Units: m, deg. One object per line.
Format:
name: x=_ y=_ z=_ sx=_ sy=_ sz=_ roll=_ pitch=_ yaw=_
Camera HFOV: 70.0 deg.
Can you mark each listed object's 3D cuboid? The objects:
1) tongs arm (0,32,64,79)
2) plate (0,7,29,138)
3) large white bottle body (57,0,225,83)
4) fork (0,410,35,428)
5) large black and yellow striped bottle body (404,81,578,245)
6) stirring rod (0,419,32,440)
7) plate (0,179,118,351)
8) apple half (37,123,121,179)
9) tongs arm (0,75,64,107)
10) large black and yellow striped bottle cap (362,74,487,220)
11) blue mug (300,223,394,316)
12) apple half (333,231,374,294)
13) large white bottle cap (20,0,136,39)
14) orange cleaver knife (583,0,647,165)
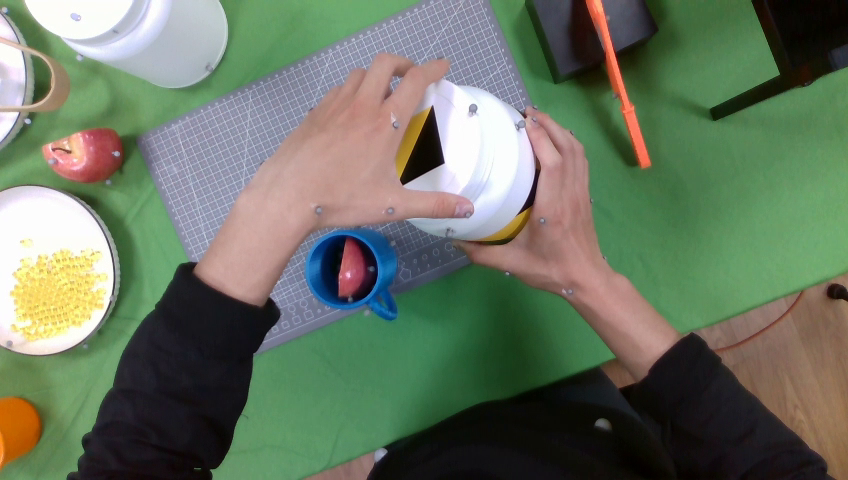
tongs arm: x=-0.590 y=-0.261 z=0.697 sx=0.387 sy=0.028 sz=0.028 roll=20 pitch=89 yaw=5
plate: x=-0.571 y=-0.203 z=0.730 sx=0.207 sy=0.039 sz=0.208 roll=0 pitch=94 yaw=4
large white bottle body: x=-0.306 y=-0.247 z=0.633 sx=0.130 sy=0.184 sz=0.130 roll=0 pitch=93 yaw=5
fork: x=-0.577 y=0.235 z=0.705 sx=0.208 sy=0.018 sz=0.028 roll=-8 pitch=93 yaw=-38
large black and yellow striped bottle body: x=0.047 y=-0.066 z=0.550 sx=0.130 sy=0.185 sz=0.130 roll=-4 pitch=83 yaw=36
stirring rod: x=-0.561 y=0.250 z=0.707 sx=0.177 sy=0.006 sz=0.014 roll=-16 pitch=80 yaw=-35
plate: x=-0.469 y=0.030 z=0.739 sx=0.209 sy=0.038 sz=0.209 roll=0 pitch=94 yaw=5
apple half: x=-0.394 y=-0.099 z=0.706 sx=0.081 sy=0.074 sz=0.053 roll=-19 pitch=95 yaw=2
tongs arm: x=-0.605 y=-0.179 z=0.702 sx=0.384 sy=0.026 sz=0.051 roll=6 pitch=91 yaw=6
large black and yellow striped bottle cap: x=-0.003 y=-0.073 z=0.481 sx=0.114 sy=0.019 sz=0.114 roll=-5 pitch=82 yaw=36
blue mug: x=-0.072 y=0.036 z=0.672 sx=0.082 sy=0.106 sz=0.116 roll=-38 pitch=90 yaw=6
apple half: x=-0.071 y=0.026 z=0.665 sx=0.032 sy=0.081 sz=0.081 roll=11 pitch=94 yaw=11
large white bottle cap: x=-0.315 y=-0.242 z=0.549 sx=0.115 sy=0.018 sz=0.115 roll=0 pitch=94 yaw=5
orange cleaver knife: x=0.201 y=-0.180 z=0.649 sx=0.012 sy=0.076 sz=0.213 roll=-21 pitch=118 yaw=14
